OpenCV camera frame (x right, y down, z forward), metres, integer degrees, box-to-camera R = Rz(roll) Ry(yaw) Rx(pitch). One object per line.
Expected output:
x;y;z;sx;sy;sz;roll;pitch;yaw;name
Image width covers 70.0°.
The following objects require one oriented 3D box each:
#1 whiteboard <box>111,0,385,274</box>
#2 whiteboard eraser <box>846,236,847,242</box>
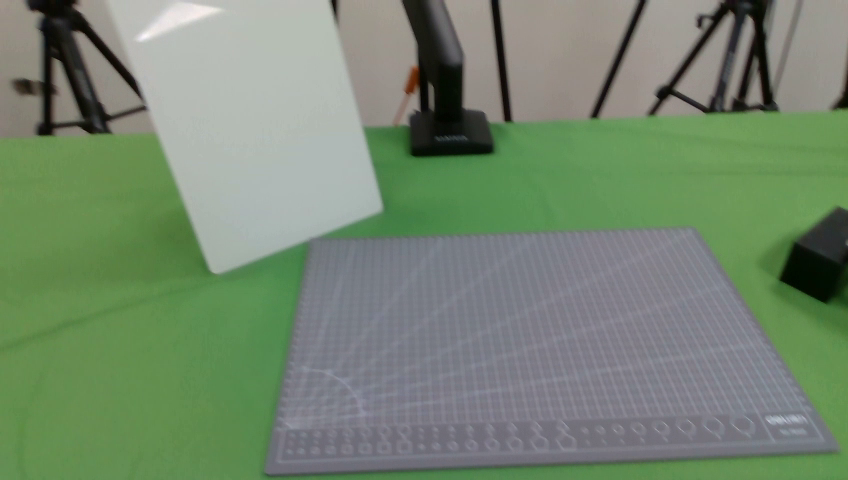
-0.203;-0.155;0.697;0.217;0.307;0.142;-23;24;-26;whiteboard
0.460;0.009;0.557;0.055;0.042;0.111;-30;43;-29;whiteboard eraser
